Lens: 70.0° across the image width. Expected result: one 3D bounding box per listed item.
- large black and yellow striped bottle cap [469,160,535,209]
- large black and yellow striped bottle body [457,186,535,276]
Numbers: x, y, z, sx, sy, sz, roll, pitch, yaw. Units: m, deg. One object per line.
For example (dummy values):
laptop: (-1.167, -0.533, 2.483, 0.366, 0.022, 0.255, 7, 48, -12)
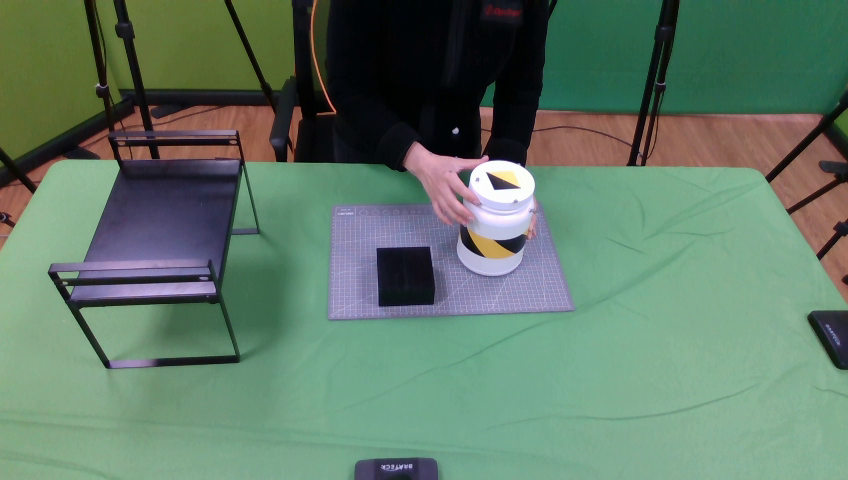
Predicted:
large black and yellow striped bottle cap: (0.137, -0.099, 1.062, 0.115, 0.019, 0.114, 3, 46, -3)
large black and yellow striped bottle body: (0.133, -0.037, 1.125, 0.131, 0.185, 0.130, 2, 46, -2)
